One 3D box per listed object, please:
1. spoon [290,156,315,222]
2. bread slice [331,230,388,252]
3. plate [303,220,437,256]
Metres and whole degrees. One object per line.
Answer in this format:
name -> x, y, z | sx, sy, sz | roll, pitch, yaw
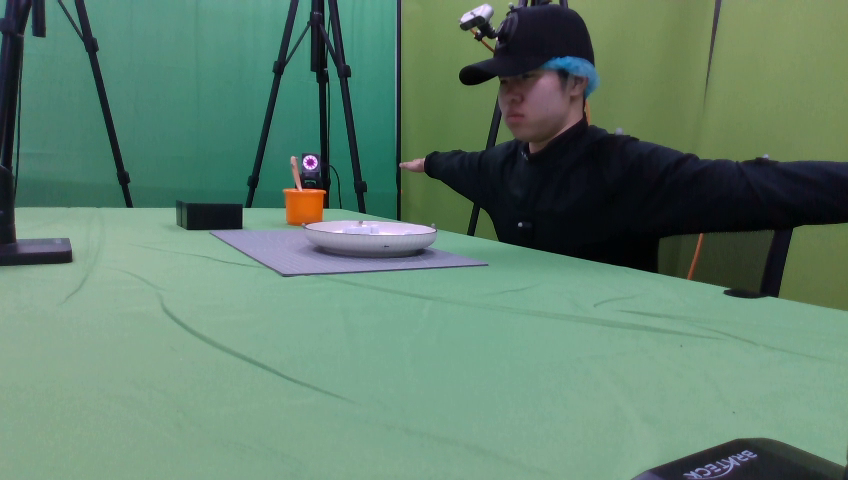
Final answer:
spoon -> -0.274, -0.116, 1.329 | 0.042, 0.021, 0.193 | -3, 49, -25
bread slice -> -0.088, 0.000, 0.947 | 0.105, 0.019, 0.131 | -4, 10, -44
plate -> -0.084, -0.003, 0.951 | 0.209, 0.038, 0.209 | 3, 7, 0
